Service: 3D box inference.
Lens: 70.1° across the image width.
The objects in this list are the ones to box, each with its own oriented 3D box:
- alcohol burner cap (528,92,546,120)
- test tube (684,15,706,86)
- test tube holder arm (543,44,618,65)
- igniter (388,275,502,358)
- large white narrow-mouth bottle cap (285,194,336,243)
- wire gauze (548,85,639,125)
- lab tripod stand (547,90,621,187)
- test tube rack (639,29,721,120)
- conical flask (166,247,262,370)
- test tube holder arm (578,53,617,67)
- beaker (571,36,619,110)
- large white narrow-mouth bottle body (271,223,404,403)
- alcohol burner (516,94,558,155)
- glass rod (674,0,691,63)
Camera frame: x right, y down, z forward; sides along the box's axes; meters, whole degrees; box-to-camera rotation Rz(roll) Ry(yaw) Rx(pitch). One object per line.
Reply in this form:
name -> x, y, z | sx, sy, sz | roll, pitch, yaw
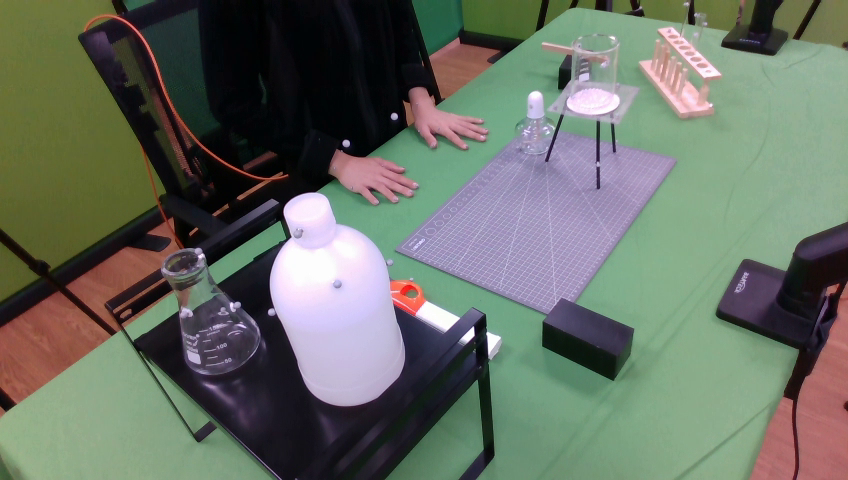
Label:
alcohol burner cap -> 0.206, -0.249, 1.112 | 0.034, 0.048, 0.033 | -6, 34, 5
test tube -> 0.541, -0.378, 1.215 | 0.017, 0.151, 0.017 | -2, 44, 3
test tube holder arm -> 0.344, -0.412, 1.341 | 0.177, 0.015, 0.013 | 25, 51, 31
igniter -> -0.009, 0.094, 0.870 | 0.274, 0.025, 0.057 | 25, 60, 33
large white narrow-mouth bottle cap -> -0.087, -0.017, 0.468 | 0.038, 0.024, 0.037 | -5, 40, 4
wire gauze -> 0.286, -0.233, 1.020 | 0.124, 0.011, 0.122 | 15, 43, 30
lab tripod stand -> 0.289, -0.184, 1.062 | 0.148, 0.132, 0.147 | -6, 41, 6
test tube rack -> 0.527, -0.351, 1.262 | 0.067, 0.085, 0.241 | -8, 40, 1
conical flask -> -0.209, 0.063, 0.585 | 0.075, 0.122, 0.075 | -5, 40, 4
test tube holder arm -> 0.376, -0.393, 1.314 | 0.087, 0.015, 0.010 | 26, 51, 32
beaker -> 0.281, -0.273, 0.992 | 0.084, 0.101, 0.073 | -24, 42, -16
large white narrow-mouth bottle body -> -0.077, 0.048, 0.525 | 0.102, 0.195, 0.101 | -5, 40, 5
alcohol burner -> 0.212, -0.221, 1.135 | 0.078, 0.119, 0.077 | -5, 43, 5
glass rod -> 0.537, -0.437, 1.257 | 0.008, 0.200, 0.008 | 0, 39, 1
